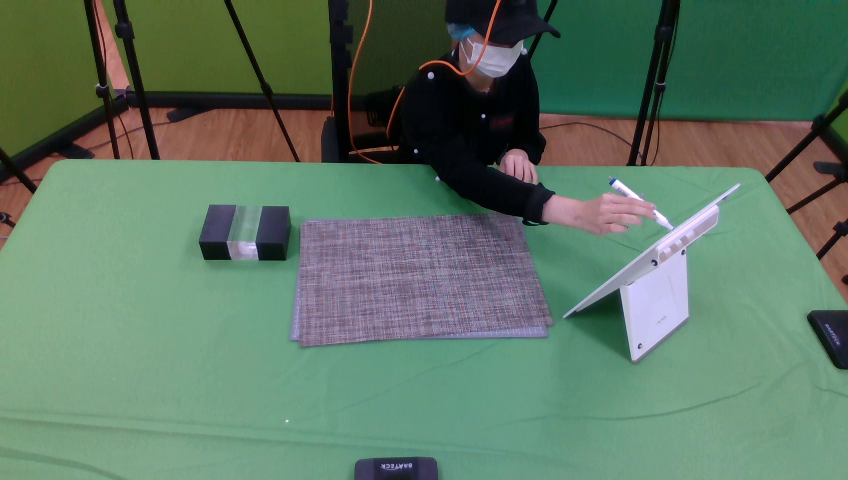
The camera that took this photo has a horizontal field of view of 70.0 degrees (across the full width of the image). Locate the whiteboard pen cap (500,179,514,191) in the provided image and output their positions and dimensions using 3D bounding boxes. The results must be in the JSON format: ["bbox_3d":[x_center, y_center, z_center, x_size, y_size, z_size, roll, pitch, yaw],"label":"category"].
[{"bbox_3d":[0.180,-0.120,1.316,0.033,0.018,0.018,-34,57,-28],"label":"whiteboard pen cap"}]

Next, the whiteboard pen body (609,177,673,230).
[{"bbox_3d":[0.379,-0.061,1.050,0.140,0.017,0.017,40,54,7],"label":"whiteboard pen body"}]

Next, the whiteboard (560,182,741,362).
[{"bbox_3d":[0.406,0.075,1.001,0.217,0.306,0.143,-28,73,-28],"label":"whiteboard"}]
